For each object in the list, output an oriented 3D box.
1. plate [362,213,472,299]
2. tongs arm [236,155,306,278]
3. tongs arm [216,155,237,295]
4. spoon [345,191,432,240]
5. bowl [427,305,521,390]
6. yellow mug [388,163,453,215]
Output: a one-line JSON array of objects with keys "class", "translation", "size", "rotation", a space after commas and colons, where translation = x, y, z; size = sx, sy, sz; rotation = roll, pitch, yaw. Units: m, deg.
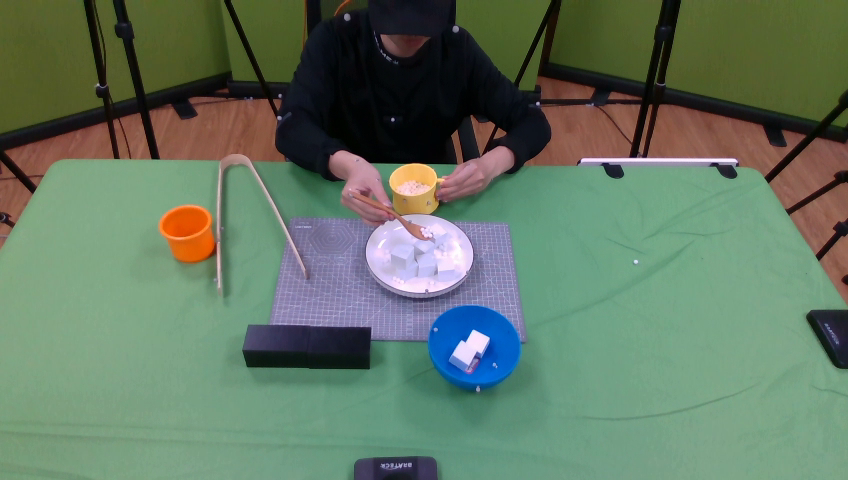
[{"class": "plate", "translation": [-0.013, 0.034, 1.150], "size": [0.208, 0.039, 0.206], "rotation": [2, 46, -2]}, {"class": "tongs arm", "translation": [-0.311, -0.059, 1.224], "size": [0.028, 0.028, 0.385], "rotation": [-22, 50, -18]}, {"class": "tongs arm", "translation": [-0.388, -0.043, 1.201], "size": [0.051, 0.026, 0.382], "rotation": [-9, 46, -12]}, {"class": "spoon", "translation": [-0.059, -0.045, 1.068], "size": [0.195, 0.021, 0.041], "rotation": [32, 28, -36]}, {"class": "bowl", "translation": [0.076, 0.188, 0.985], "size": [0.151, 0.077, 0.150], "rotation": [3, 46, -3]}, {"class": "yellow mug", "translation": [-0.006, -0.104, 1.256], "size": [0.131, 0.064, 0.099], "rotation": [-3, 48, 2]}]
